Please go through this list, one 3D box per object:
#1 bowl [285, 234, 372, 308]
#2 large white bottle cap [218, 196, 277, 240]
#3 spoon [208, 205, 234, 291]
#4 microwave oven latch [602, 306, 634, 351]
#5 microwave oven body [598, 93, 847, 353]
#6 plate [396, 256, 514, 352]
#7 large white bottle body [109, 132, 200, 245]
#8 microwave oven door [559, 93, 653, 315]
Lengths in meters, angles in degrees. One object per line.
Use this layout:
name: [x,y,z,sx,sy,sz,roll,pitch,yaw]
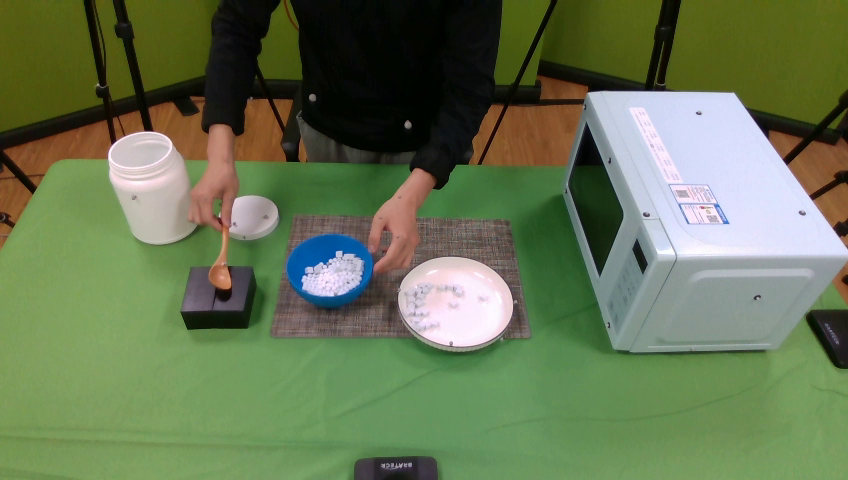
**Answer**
bowl: [-0.167,0.069,1.077,0.151,0.077,0.150,3,45,-3]
large white bottle cap: [-0.354,-0.045,1.220,0.115,0.018,0.114,2,46,-2]
spoon: [-0.355,0.011,1.077,0.042,0.022,0.192,1,56,-12]
microwave oven latch: [0.332,0.153,1.044,0.030,0.029,0.078,0,45,-4]
microwave oven body: [0.475,-0.041,1.109,0.326,0.261,0.438,-1,45,-4]
plate: [0.053,0.116,1.077,0.209,0.038,0.208,2,46,-2]
large white bottle body: [-0.506,-0.097,1.141,0.131,0.185,0.130,2,46,-2]
microwave oven door: [0.327,-0.074,1.123,0.039,0.245,0.353,-1,46,-5]
